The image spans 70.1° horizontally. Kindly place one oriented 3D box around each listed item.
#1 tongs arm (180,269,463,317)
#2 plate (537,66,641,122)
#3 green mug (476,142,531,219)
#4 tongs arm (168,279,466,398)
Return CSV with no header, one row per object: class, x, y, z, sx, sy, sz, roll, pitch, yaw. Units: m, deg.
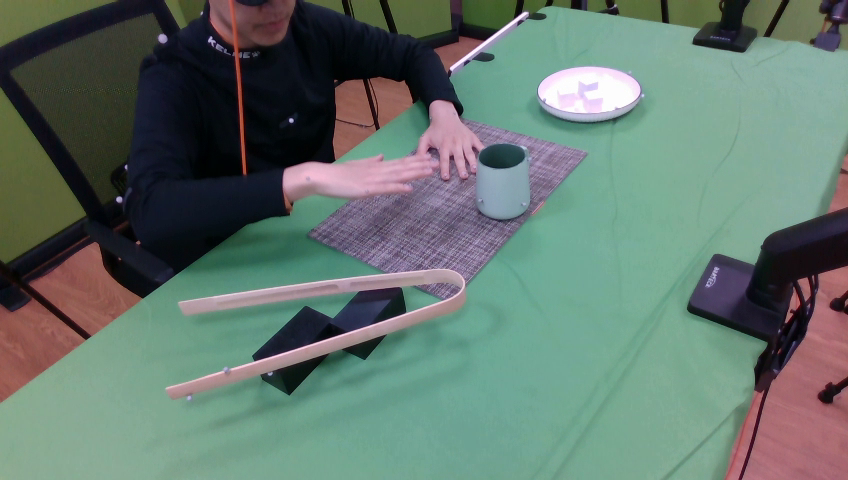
tongs arm,-0.139,0.074,0.827,0.388,0.028,0.028,-7,34,1
plate,0.338,-0.299,1.255,0.209,0.038,0.208,-4,41,4
green mug,0.140,-0.106,1.002,0.092,0.105,0.125,21,48,30
tongs arm,-0.124,0.121,0.767,0.386,0.026,0.050,-15,38,-9
